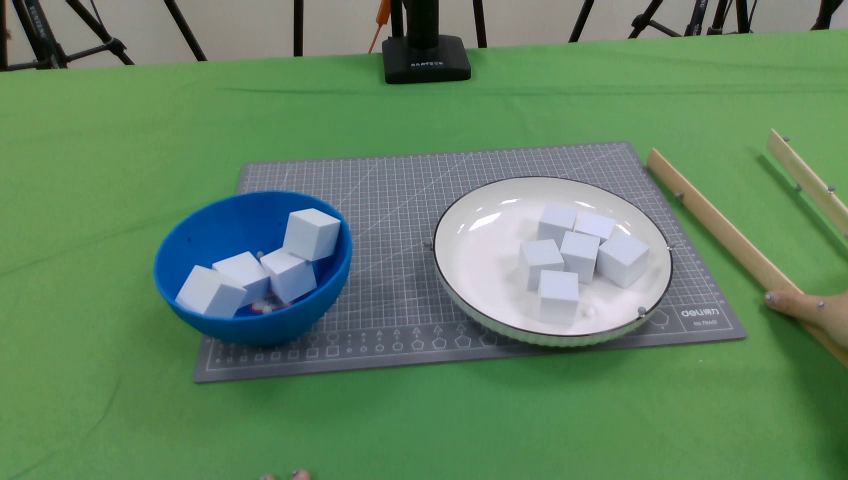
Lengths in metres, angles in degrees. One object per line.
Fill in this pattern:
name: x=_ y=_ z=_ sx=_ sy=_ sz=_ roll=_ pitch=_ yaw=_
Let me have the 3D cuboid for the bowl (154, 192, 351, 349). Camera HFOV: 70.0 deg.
bowl: x=-0.131 y=0.036 z=0.497 sx=0.151 sy=0.077 sz=0.150 roll=0 pitch=42 yaw=0

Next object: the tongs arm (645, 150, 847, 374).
tongs arm: x=0.312 y=0.029 z=0.543 sx=0.028 sy=0.028 sz=0.383 roll=-11 pitch=43 yaw=-15

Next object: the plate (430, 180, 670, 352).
plate: x=0.109 y=0.021 z=0.542 sx=0.208 sy=0.039 sz=0.205 roll=0 pitch=42 yaw=0

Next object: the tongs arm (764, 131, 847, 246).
tongs arm: x=0.388 y=0.017 z=0.550 sx=0.051 sy=0.027 sz=0.380 roll=-5 pitch=43 yaw=-3
